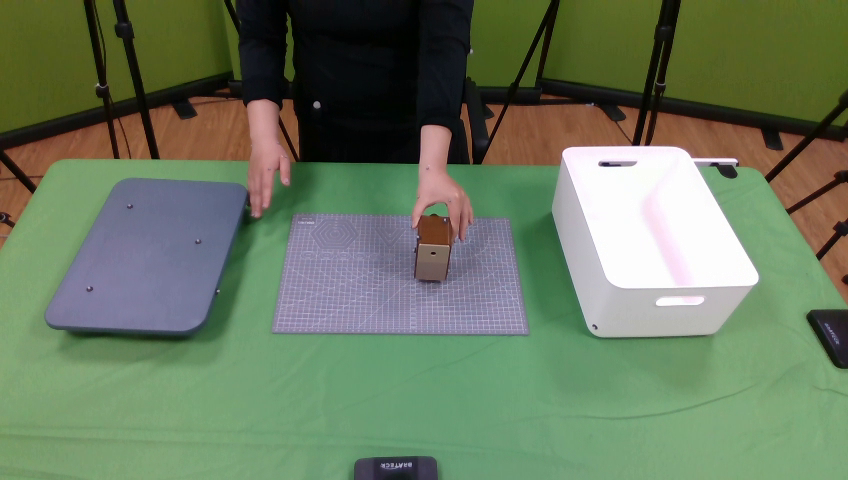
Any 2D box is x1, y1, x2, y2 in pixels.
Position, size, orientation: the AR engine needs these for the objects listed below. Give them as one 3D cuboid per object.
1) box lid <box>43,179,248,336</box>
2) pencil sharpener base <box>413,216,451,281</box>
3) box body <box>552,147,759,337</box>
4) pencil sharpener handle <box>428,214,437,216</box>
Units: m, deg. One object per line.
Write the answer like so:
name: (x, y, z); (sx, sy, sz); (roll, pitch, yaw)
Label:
box lid: (-0.484, 0.017, 1.093); (0.263, 0.015, 0.369); (2, 46, -2)
pencil sharpener base: (0.014, 0.015, 1.105); (0.061, 0.107, 0.076); (3, 49, -2)
box body: (0.400, -0.001, 1.131); (0.254, 0.161, 0.361); (-1, 46, -5)
pencil sharpener handle: (0.014, -0.032, 1.130); (0.036, 0.068, 0.030); (7, 48, -6)
